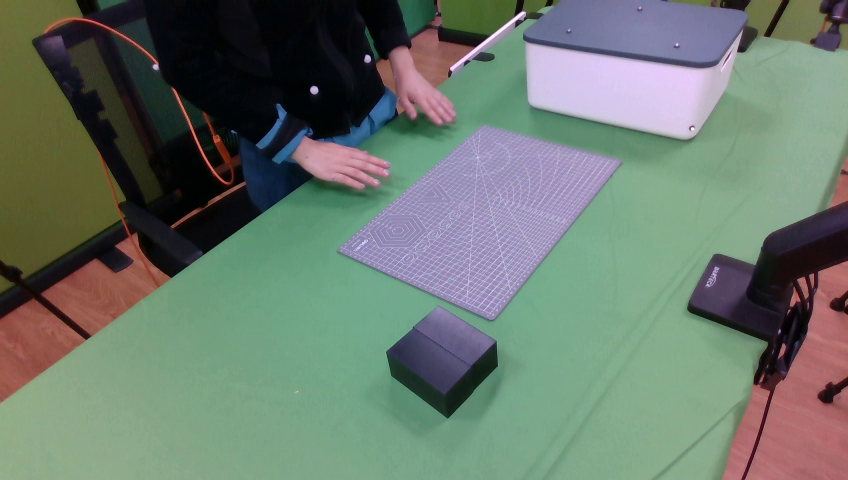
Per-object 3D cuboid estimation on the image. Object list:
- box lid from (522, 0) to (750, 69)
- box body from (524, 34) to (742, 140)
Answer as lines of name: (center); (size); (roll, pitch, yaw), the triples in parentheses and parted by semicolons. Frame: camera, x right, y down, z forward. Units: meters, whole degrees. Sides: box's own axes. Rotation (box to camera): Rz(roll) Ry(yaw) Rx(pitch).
box lid: (0.405, -0.409, 1.163); (0.369, 0.015, 0.264); (20, 47, 29)
box body: (0.412, -0.354, 1.212); (0.361, 0.161, 0.254); (20, 48, 29)
